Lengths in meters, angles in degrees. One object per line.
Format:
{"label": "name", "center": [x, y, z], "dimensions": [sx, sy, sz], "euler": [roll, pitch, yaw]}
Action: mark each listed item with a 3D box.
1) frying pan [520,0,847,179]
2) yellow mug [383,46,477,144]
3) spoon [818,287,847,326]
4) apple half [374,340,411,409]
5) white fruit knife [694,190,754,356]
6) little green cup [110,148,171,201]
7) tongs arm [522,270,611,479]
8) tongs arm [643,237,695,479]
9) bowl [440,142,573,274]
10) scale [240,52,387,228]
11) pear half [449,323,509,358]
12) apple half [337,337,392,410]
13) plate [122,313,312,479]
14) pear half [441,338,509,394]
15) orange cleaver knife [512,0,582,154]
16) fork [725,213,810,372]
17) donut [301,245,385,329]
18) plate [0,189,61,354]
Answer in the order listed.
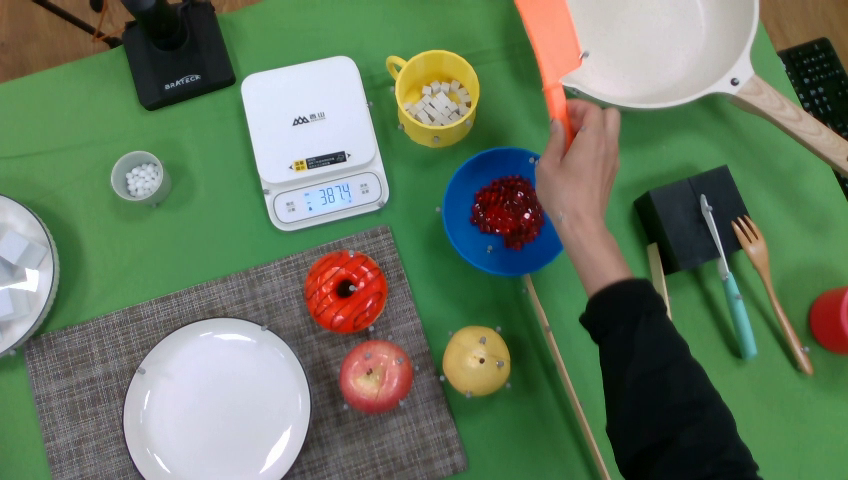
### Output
{"label": "frying pan", "center": [0.330, -0.226, 0.735], "dimensions": [0.306, 0.103, 0.485], "euler": [-45, 76, -7]}
{"label": "yellow mug", "center": [0.001, -0.185, 0.741], "dimensions": [0.130, 0.064, 0.100], "euler": [38, 82, 6]}
{"label": "spoon", "center": [0.514, 0.116, 0.658], "dimensions": [0.041, 0.022, 0.191], "euler": [-23, 37, -5]}
{"label": "apple half", "center": [-0.031, 0.153, 0.673], "dimensions": [0.033, 0.081, 0.081], "euler": [15, 80, 5]}
{"label": "white fruit knife", "center": [0.346, 0.041, 0.702], "dimensions": [0.016, 0.027, 0.207], "euler": [-20, 96, -4]}
{"label": "little green cup", "center": [-0.339, -0.076, 0.730], "dimensions": [0.061, 0.039, 0.061], "euler": [0, 80, 0]}
{"label": "tongs arm", "center": [0.201, 0.206, 0.694], "dimensions": [0.051, 0.026, 0.383], "euler": [-18, 82, -9]}
{"label": "tongs arm", "center": [0.284, 0.188, 0.703], "dimensions": [0.028, 0.028, 0.386], "euler": [-3, 80, -10]}
{"label": "bowl", "center": [0.091, -0.030, 0.710], "dimensions": [0.151, 0.077, 0.151], "euler": [0, 80, -1]}
{"label": "scale", "center": [-0.137, -0.125, 0.746], "dimensions": [0.149, 0.031, 0.200], "euler": [-14, 81, -3]}
{"label": "pear half", "center": [0.064, 0.109, 0.679], "dimensions": [0.070, 0.088, 0.031], "euler": [12, 80, 4]}
{"label": "apple half", "center": [-0.069, 0.144, 0.675], "dimensions": [0.053, 0.075, 0.080], "euler": [15, 83, 5]}
{"label": "plate", "center": [-0.228, 0.186, 0.683], "dimensions": [0.209, 0.038, 0.208], "euler": [0, 80, -1]}
{"label": "pear half", "center": [0.054, 0.141, 0.663], "dimensions": [0.076, 0.110, 0.056], "euler": [14, 79, 6]}
{"label": "orange cleaver knife", "center": [0.131, -0.195, 0.615], "dimensions": [0.077, 0.012, 0.212], "euler": [-27, 104, -28]}
{"label": "fork", "center": [0.404, 0.063, 0.707], "dimensions": [0.028, 0.018, 0.208], "euler": [-28, 97, -8]}
{"label": "donut", "center": [-0.095, 0.055, 0.705], "dimensions": [0.099, 0.048, 0.098], "euler": [0, 81, 1]}
{"label": "plate", "center": [-0.525, 0.040, 0.707], "dimensions": [0.208, 0.039, 0.207], "euler": [0, 80, -1]}
